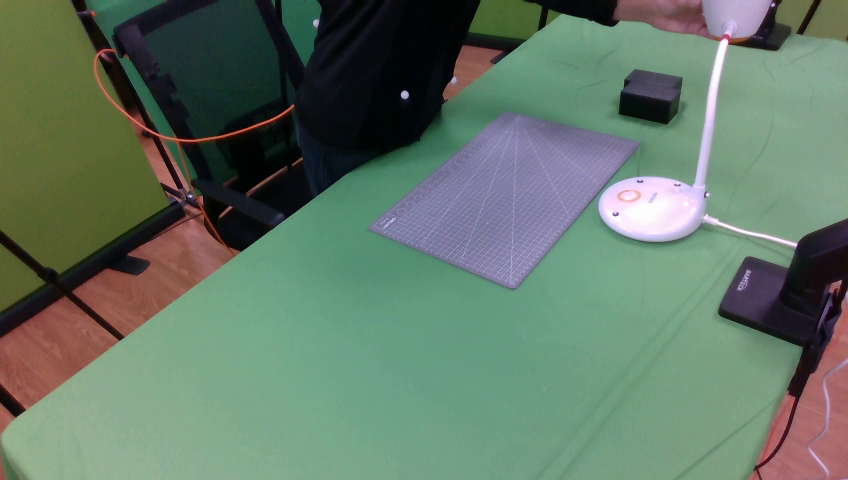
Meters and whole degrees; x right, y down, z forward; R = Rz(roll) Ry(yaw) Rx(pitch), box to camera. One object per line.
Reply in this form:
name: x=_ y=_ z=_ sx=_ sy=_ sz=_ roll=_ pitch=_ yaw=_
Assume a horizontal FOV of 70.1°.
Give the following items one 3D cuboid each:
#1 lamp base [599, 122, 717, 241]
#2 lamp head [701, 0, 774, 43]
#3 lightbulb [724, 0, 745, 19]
lamp base: x=0.367 y=-0.109 z=0.919 sx=0.178 sy=0.181 sz=0.160 roll=13 pitch=45 yaw=20
lamp head: x=0.474 y=-0.363 z=0.917 sx=0.112 sy=0.123 sz=0.112 roll=-6 pitch=33 yaw=5
lightbulb: x=0.469 y=-0.386 z=0.908 sx=0.059 sy=0.108 sz=0.059 roll=-13 pitch=35 yaw=10
